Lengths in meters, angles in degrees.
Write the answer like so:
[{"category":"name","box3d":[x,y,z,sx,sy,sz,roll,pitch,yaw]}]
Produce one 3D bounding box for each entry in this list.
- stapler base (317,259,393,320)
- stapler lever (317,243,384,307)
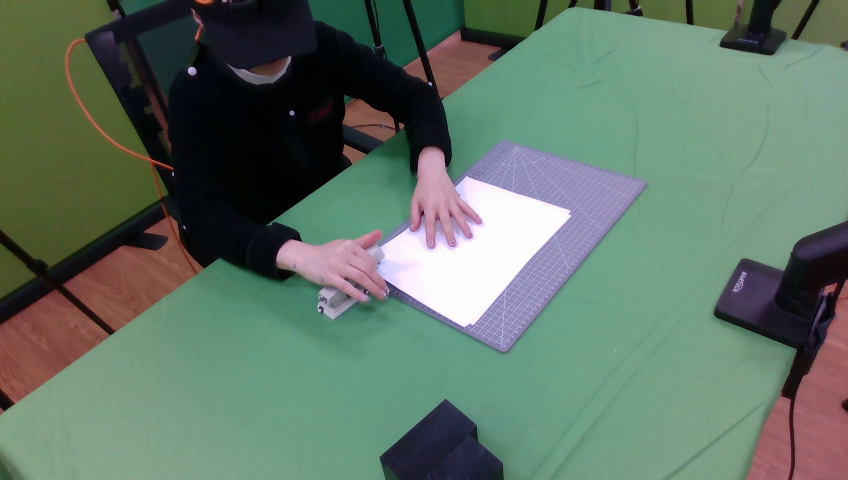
[{"category":"stapler base","box3d":[-0.103,0.065,0.907,0.041,0.024,0.131,27,55,37]},{"category":"stapler lever","box3d":[-0.108,0.049,0.891,0.026,0.040,0.118,27,53,37]}]
